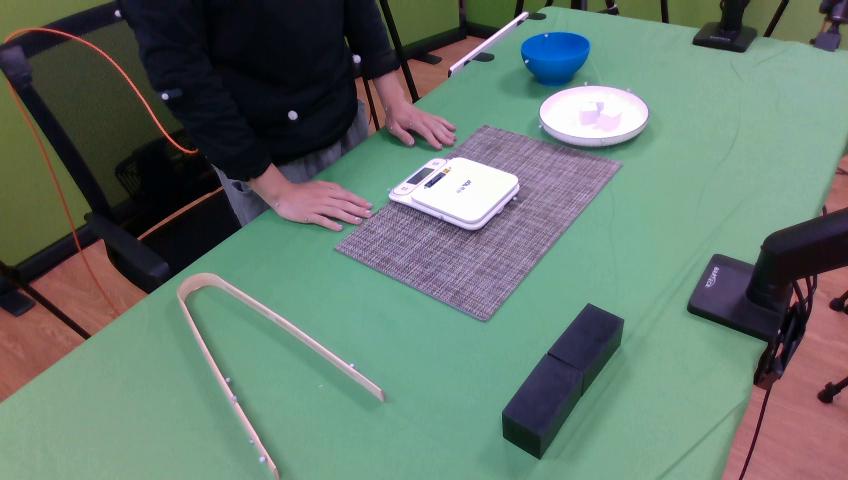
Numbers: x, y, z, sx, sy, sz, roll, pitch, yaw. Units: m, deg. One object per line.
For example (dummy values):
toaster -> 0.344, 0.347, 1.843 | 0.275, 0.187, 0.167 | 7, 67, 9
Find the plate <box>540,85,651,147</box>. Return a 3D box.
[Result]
plate -> 0.333, -0.238, 1.185 | 0.207, 0.039, 0.206 | -4, 41, 4

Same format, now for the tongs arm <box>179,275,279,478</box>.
tongs arm -> -0.260, 0.161, 0.807 | 0.051, 0.026, 0.381 | -29, 44, -25

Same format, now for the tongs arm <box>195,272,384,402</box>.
tongs arm -> -0.199, 0.125, 0.847 | 0.384, 0.028, 0.028 | 25, 53, 32

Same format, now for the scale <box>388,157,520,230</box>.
scale -> 0.050, -0.090, 1.052 | 0.199, 0.032, 0.149 | 24, 49, 31

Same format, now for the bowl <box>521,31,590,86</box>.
bowl -> 0.290, -0.395, 1.341 | 0.151, 0.077, 0.150 | -4, 40, 4
